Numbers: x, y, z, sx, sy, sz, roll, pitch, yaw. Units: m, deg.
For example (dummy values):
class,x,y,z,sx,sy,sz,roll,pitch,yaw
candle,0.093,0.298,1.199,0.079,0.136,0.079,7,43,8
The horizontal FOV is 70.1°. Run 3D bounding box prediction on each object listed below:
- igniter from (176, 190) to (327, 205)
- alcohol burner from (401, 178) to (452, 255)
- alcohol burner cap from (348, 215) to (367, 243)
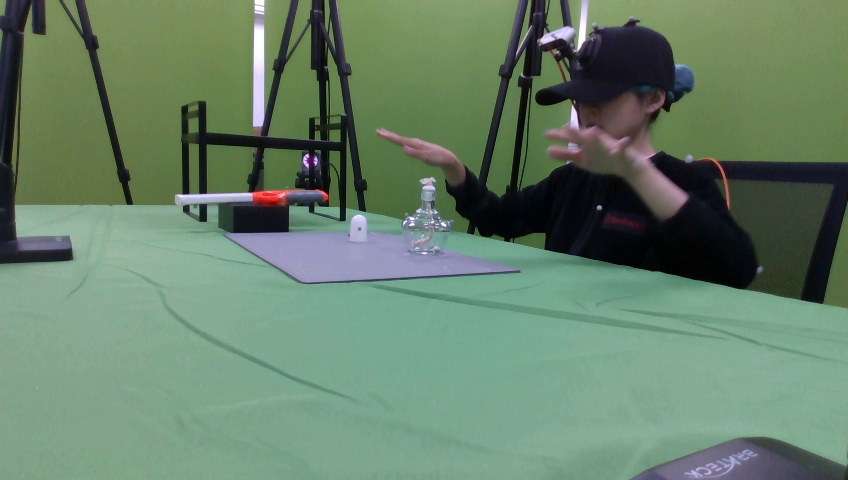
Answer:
class,x,y,z,sx,sy,sz,roll,pitch,yaw
igniter,-0.316,-0.080,1.137,0.278,0.025,0.057,-4,13,-33
alcohol burner,0.005,-0.036,0.923,0.078,0.119,0.078,5,7,0
alcohol burner cap,-0.112,-0.019,1.025,0.034,0.048,0.034,2,6,0
